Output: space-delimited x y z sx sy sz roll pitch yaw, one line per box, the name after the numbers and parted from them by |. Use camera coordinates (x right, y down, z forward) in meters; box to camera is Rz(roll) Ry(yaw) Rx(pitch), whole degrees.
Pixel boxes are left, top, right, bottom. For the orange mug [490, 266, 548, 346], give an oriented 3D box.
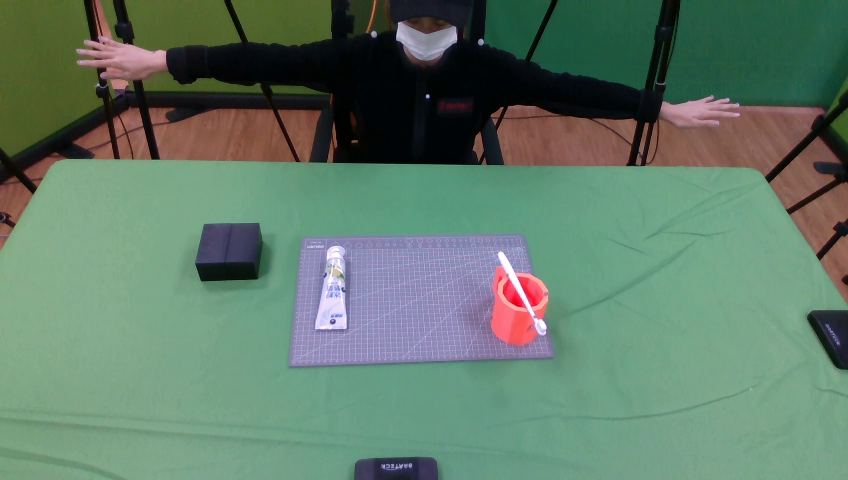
0.155 0.107 1.051 0.083 0.101 0.125 -15 53 -18 | orange mug

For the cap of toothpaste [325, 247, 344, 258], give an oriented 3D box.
-0.169 0.027 1.143 0.037 0.037 0.011 -6 46 -10 | cap of toothpaste

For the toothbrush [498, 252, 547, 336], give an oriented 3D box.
0.160 0.084 1.001 0.014 0.017 0.180 -14 48 -11 | toothbrush

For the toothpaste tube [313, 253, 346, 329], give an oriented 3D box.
-0.167 0.089 1.092 0.055 0.035 0.164 -4 50 0 | toothpaste tube
